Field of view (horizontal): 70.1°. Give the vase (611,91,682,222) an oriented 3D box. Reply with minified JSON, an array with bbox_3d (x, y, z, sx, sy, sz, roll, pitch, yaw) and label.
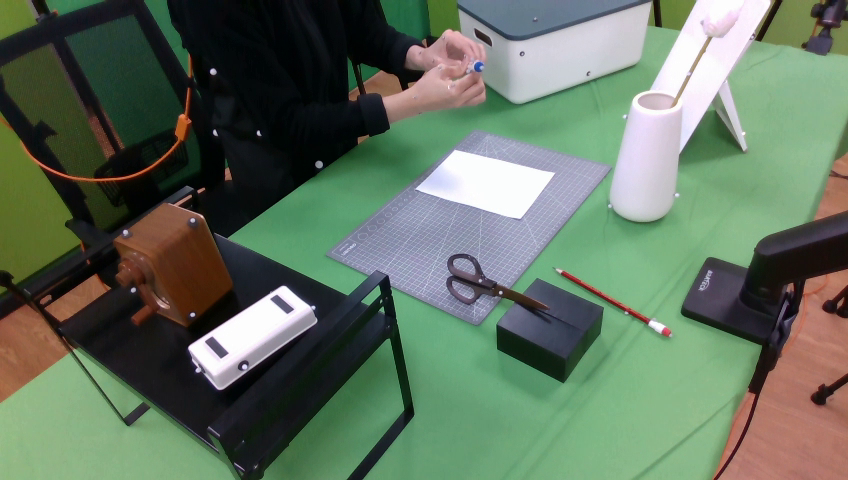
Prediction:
[{"bbox_3d":[0.348,-0.125,0.935,0.098,0.201,0.097,-3,40,3],"label":"vase"}]

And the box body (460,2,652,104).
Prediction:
[{"bbox_3d":[0.291,-0.465,1.371,0.365,0.161,0.252,-22,42,-16],"label":"box body"}]

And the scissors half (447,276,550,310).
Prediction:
[{"bbox_3d":[0.098,0.077,0.827,0.174,0.040,0.013,6,14,44],"label":"scissors half"}]

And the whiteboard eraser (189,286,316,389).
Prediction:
[{"bbox_3d":[-0.166,0.096,0.593,0.113,0.042,0.055,-36,46,-29],"label":"whiteboard eraser"}]

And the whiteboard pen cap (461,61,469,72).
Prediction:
[{"bbox_3d":[0.072,-0.289,1.008,0.018,0.018,0.033,-8,20,-2],"label":"whiteboard pen cap"}]

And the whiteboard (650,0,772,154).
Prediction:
[{"bbox_3d":[0.543,-0.298,1.076,0.144,0.305,0.216,12,40,-7],"label":"whiteboard"}]

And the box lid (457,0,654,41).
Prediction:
[{"bbox_3d":[0.285,-0.522,1.323,0.373,0.015,0.261,-22,43,-16],"label":"box lid"}]

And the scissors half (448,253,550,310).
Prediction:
[{"bbox_3d":[0.098,0.058,0.821,0.173,0.040,0.013,27,33,37],"label":"scissors half"}]

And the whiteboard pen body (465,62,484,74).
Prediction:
[{"bbox_3d":[0.077,-0.272,0.952,0.017,0.017,0.140,-8,18,-1],"label":"whiteboard pen body"}]

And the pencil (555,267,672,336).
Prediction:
[{"bbox_3d":[0.260,0.082,0.850,0.012,0.012,0.192,-33,46,-27],"label":"pencil"}]

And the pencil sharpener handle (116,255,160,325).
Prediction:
[{"bbox_3d":[-0.286,0.050,0.594,0.035,0.068,0.031,7,41,35],"label":"pencil sharpener handle"}]

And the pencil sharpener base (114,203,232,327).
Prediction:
[{"bbox_3d":[-0.262,0.029,0.635,0.061,0.107,0.077,18,47,26],"label":"pencil sharpener base"}]

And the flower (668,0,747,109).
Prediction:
[{"bbox_3d":[0.354,-0.187,0.879,0.038,0.362,0.044,31,48,15],"label":"flower"}]
